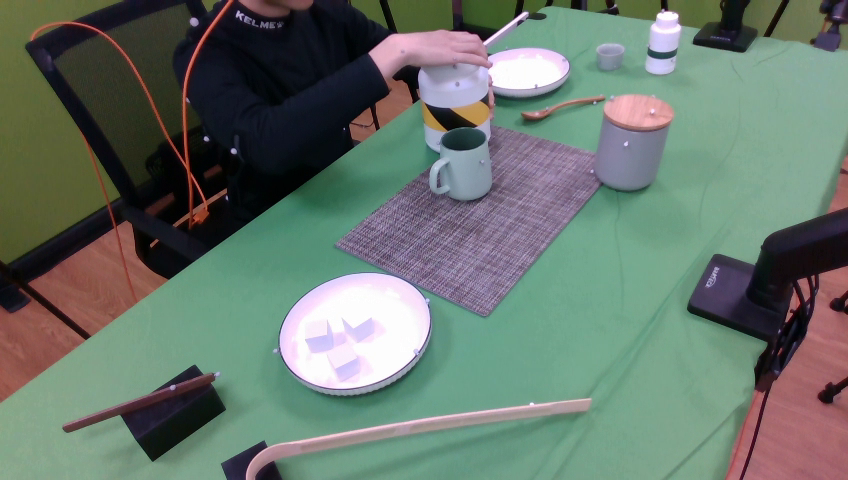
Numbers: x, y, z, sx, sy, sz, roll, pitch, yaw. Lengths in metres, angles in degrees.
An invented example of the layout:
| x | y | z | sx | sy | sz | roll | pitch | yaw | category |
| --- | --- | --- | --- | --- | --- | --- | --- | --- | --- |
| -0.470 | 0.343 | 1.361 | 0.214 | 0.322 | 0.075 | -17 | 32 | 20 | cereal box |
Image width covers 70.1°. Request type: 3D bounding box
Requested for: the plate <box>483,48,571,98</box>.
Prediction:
| x | y | z | sx | sy | sz | roll | pitch | yaw | category |
| --- | --- | --- | --- | --- | --- | --- | --- | --- | --- |
| 0.223 | -0.371 | 1.357 | 0.209 | 0.038 | 0.208 | -4 | 41 | 4 | plate |

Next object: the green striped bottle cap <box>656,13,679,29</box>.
| x | y | z | sx | sy | sz | roll | pitch | yaw | category |
| --- | --- | --- | --- | --- | --- | --- | --- | --- | --- |
| 0.515 | -0.463 | 1.278 | 0.044 | 0.020 | 0.044 | -6 | 42 | 6 | green striped bottle cap |

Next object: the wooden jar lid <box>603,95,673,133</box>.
| x | y | z | sx | sy | sz | roll | pitch | yaw | category |
| --- | --- | --- | --- | --- | --- | --- | --- | --- | --- |
| 0.343 | -0.200 | 0.973 | 0.108 | 0.021 | 0.108 | -1 | 39 | 2 | wooden jar lid |

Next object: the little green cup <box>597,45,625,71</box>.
| x | y | z | sx | sy | sz | roll | pitch | yaw | category |
| --- | --- | --- | --- | --- | --- | --- | --- | --- | --- |
| 0.423 | -0.413 | 1.375 | 0.061 | 0.039 | 0.061 | -3 | 41 | 3 | little green cup |

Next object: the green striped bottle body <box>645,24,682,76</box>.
| x | y | z | sx | sy | sz | roll | pitch | yaw | category |
| --- | --- | --- | --- | --- | --- | --- | --- | --- | --- |
| 0.520 | -0.424 | 1.312 | 0.063 | 0.120 | 0.063 | -4 | 41 | 4 | green striped bottle body |

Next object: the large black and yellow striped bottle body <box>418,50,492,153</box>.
| x | y | z | sx | sy | sz | roll | pitch | yaw | category |
| --- | --- | --- | --- | --- | --- | --- | --- | --- | --- |
| 0.059 | -0.269 | 1.145 | 0.131 | 0.185 | 0.130 | -5 | 40 | 4 | large black and yellow striped bottle body |

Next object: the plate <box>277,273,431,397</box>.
| x | y | z | sx | sy | sz | roll | pitch | yaw | category |
| --- | --- | --- | --- | --- | --- | --- | --- | --- | --- |
| -0.091 | 0.129 | 0.820 | 0.207 | 0.039 | 0.206 | -4 | 40 | 4 | plate |

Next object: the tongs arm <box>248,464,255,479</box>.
| x | y | z | sx | sy | sz | roll | pitch | yaw | category |
| --- | --- | --- | --- | --- | --- | --- | --- | --- | --- |
| 0.012 | 0.262 | 0.614 | 0.385 | 0.026 | 0.050 | 2 | 42 | -2 | tongs arm |

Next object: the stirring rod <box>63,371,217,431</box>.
| x | y | z | sx | sy | sz | roll | pitch | yaw | category |
| --- | --- | --- | --- | --- | --- | --- | --- | --- | --- |
| -0.337 | 0.192 | 0.723 | 0.177 | 0.014 | 0.005 | -18 | 43 | -12 | stirring rod |

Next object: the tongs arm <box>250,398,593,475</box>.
| x | y | z | sx | sy | sz | roll | pitch | yaw | category |
| --- | --- | --- | --- | --- | --- | --- | --- | --- | --- |
| 0.008 | 0.212 | 0.675 | 0.389 | 0.028 | 0.028 | -5 | 46 | -11 | tongs arm |

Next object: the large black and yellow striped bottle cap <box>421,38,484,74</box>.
| x | y | z | sx | sy | sz | roll | pitch | yaw | category |
| --- | --- | --- | --- | --- | --- | --- | --- | --- | --- |
| 0.051 | -0.333 | 1.092 | 0.115 | 0.019 | 0.114 | -5 | 42 | 5 | large black and yellow striped bottle cap |

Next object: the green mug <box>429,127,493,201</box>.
| x | y | z | sx | sy | sz | roll | pitch | yaw | category |
| --- | --- | --- | --- | --- | --- | --- | --- | --- | --- |
| 0.059 | -0.122 | 1.034 | 0.126 | 0.105 | 0.091 | -35 | 48 | -28 | green mug |

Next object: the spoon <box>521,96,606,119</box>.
| x | y | z | sx | sy | sz | roll | pitch | yaw | category |
| --- | --- | --- | --- | --- | --- | --- | --- | --- | --- |
| 0.291 | -0.277 | 1.249 | 0.194 | 0.022 | 0.041 | -17 | 25 | -11 | spoon |

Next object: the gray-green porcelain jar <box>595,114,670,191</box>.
| x | y | z | sx | sy | sz | roll | pitch | yaw | category |
| --- | --- | --- | --- | --- | --- | --- | --- | --- | --- |
| 0.346 | -0.154 | 1.017 | 0.106 | 0.127 | 0.105 | -2 | 44 | 2 | gray-green porcelain jar |
